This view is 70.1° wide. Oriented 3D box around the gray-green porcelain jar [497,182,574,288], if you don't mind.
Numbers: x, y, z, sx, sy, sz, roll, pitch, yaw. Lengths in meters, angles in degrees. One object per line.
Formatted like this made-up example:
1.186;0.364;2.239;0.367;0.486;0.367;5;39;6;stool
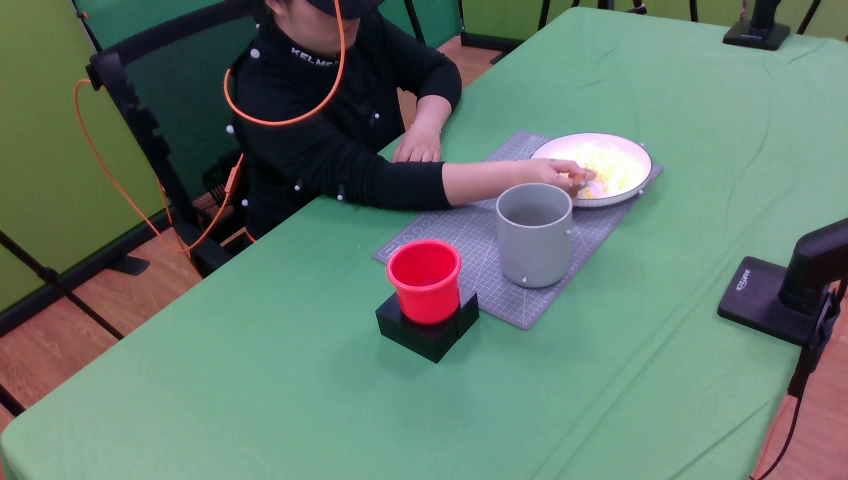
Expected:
0.160;-0.003;0.869;0.106;0.127;0.105;-5;40;5;gray-green porcelain jar

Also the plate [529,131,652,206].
0.287;-0.121;1.056;0.207;0.039;0.206;-5;40;5;plate

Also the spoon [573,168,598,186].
0.250;-0.101;0.956;0.041;0.021;0.194;10;11;18;spoon
